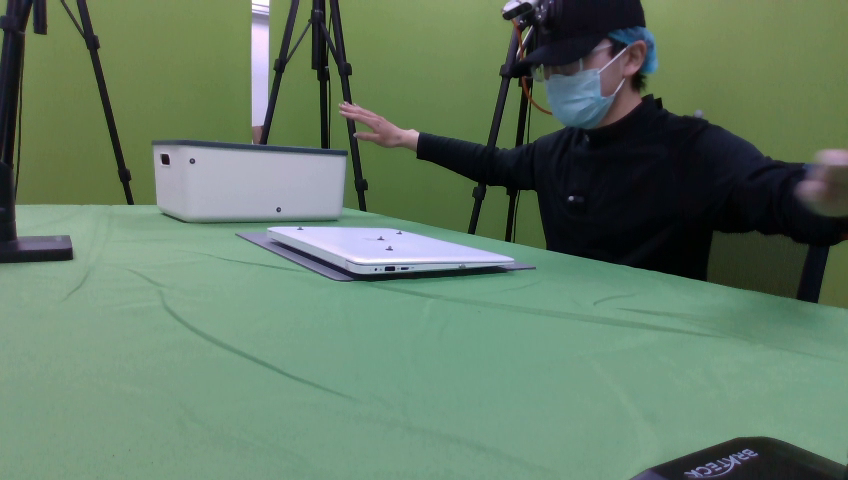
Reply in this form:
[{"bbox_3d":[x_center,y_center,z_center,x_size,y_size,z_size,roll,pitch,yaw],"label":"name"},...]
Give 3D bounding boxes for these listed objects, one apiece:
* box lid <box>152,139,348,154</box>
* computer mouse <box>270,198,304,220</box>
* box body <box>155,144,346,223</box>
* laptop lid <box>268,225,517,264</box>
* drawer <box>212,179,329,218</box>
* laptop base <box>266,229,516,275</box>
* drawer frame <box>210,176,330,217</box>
[{"bbox_3d":[-0.379,-0.205,1.338,0.373,0.015,0.262,-3,10,-36],"label":"box lid"},{"bbox_3d":[-0.318,-0.073,1.402,0.063,0.041,0.116,4,13,-24],"label":"computer mouse"},{"bbox_3d":[-0.384,-0.132,1.346,0.366,0.160,0.253,-3,9,-36],"label":"box body"},{"bbox_3d":[-0.063,0.002,0.877,0.243,0.013,0.355,1,7,-30],"label":"laptop lid"},{"bbox_3d":[-0.348,-0.097,1.365,0.213,0.073,0.193,0,10,-32],"label":"drawer"},{"bbox_3d":[-0.066,0.014,0.877,0.237,0.023,0.352,2,7,-32],"label":"laptop base"},{"bbox_3d":[-0.348,-0.103,1.365,0.215,0.082,0.200,-6,9,-32],"label":"drawer frame"}]
